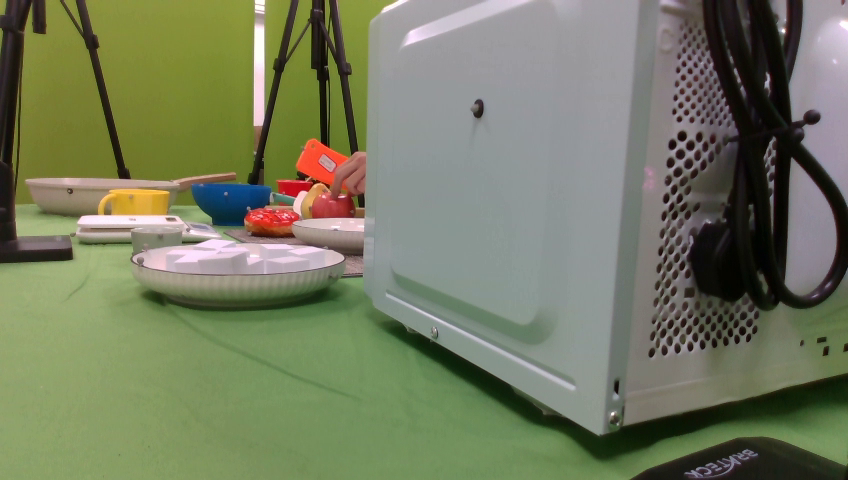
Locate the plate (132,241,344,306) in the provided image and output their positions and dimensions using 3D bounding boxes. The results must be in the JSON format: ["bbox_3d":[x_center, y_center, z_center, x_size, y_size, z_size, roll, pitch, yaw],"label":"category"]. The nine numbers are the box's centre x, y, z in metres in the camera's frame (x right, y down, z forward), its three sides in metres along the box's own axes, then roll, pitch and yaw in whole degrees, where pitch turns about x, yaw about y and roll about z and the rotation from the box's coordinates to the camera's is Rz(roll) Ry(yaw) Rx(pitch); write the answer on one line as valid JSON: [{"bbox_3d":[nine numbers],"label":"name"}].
[{"bbox_3d":[-0.187,0.033,0.625,0.208,0.039,0.207,2,8,0],"label":"plate"}]

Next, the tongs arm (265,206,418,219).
[{"bbox_3d":[-0.174,-0.061,1.363,0.387,0.026,0.050,-1,3,-31],"label":"tongs arm"}]

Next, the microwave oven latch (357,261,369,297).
[{"bbox_3d":[-0.019,0.033,0.531,0.079,0.029,0.030,-1,7,-26],"label":"microwave oven latch"}]

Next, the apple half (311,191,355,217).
[{"bbox_3d":[-0.169,-0.051,1.092,0.081,0.074,0.053,12,10,3],"label":"apple half"}]

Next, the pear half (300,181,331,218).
[{"bbox_3d":[-0.200,-0.077,1.181,0.077,0.110,0.055,-7,14,-36],"label":"pear half"}]

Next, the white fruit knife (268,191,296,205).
[{"bbox_3d":[-0.364,-0.105,1.464,0.208,0.027,0.016,15,-1,-34],"label":"white fruit knife"}]

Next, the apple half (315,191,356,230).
[{"bbox_3d":[-0.164,-0.057,1.131,0.081,0.081,0.033,3,11,4],"label":"apple half"}]

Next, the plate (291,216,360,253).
[{"bbox_3d":[-0.103,-0.009,0.945,0.209,0.038,0.209,2,8,0],"label":"plate"}]

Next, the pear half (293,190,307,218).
[{"bbox_3d":[-0.239,-0.059,1.239,0.071,0.031,0.087,-3,54,-39],"label":"pear half"}]

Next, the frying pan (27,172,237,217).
[{"bbox_3d":[-0.624,-0.118,1.387,0.305,0.102,0.490,8,17,32],"label":"frying pan"}]

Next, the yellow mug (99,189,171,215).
[{"bbox_3d":[-0.518,-0.055,1.080,0.099,0.064,0.131,7,9,26],"label":"yellow mug"}]

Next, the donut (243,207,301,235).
[{"bbox_3d":[-0.261,-0.032,1.043,0.099,0.048,0.099,4,9,0],"label":"donut"}]

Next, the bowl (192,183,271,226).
[{"bbox_3d":[-0.382,-0.071,1.202,0.151,0.077,0.151,3,7,0],"label":"bowl"}]

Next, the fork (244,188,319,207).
[{"bbox_3d":[-0.356,-0.105,1.526,0.208,0.018,0.028,16,-5,-41],"label":"fork"}]

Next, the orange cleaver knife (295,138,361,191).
[{"bbox_3d":[-0.148,-0.136,1.169,0.212,0.077,0.012,14,-6,-34],"label":"orange cleaver knife"}]

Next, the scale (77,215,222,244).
[{"bbox_3d":[-0.434,-0.019,0.963,0.202,0.031,0.148,-1,9,-27],"label":"scale"}]

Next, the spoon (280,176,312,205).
[{"bbox_3d":[-0.316,-0.159,1.640,0.194,0.022,0.041,-50,31,-20],"label":"spoon"}]

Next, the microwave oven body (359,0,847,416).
[{"bbox_3d":[0.211,-0.047,0.474,0.444,0.260,0.324,-1,7,-28],"label":"microwave oven body"}]

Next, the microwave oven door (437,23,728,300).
[{"bbox_3d":[0.181,-0.072,0.621,0.358,0.243,0.039,-2,8,-29],"label":"microwave oven door"}]

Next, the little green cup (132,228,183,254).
[{"bbox_3d":[-0.342,0.006,0.779,0.061,0.038,0.061,2,8,0],"label":"little green cup"}]

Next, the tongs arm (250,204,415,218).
[{"bbox_3d":[-0.211,-0.068,1.440,0.389,0.027,0.028,0,-1,-17],"label":"tongs arm"}]
